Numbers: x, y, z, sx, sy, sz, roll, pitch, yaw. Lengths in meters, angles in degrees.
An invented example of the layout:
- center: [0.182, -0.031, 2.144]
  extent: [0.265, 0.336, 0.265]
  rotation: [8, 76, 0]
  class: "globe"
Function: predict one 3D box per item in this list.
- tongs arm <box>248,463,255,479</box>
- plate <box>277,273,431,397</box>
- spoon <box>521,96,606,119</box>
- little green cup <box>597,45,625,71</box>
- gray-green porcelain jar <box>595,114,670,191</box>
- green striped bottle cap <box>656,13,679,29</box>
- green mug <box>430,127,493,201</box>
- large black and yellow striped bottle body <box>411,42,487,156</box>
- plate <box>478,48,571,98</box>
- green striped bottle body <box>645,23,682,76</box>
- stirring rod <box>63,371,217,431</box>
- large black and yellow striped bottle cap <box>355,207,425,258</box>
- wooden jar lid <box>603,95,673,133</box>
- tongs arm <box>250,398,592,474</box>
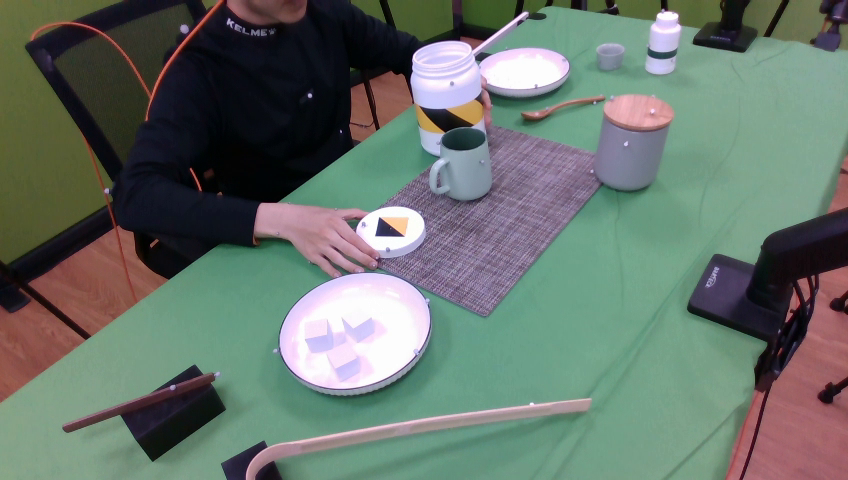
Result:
- center: [0.012, 0.262, 0.614]
  extent: [0.385, 0.026, 0.050]
  rotation: [3, 42, -2]
  class: "tongs arm"
- center: [-0.091, 0.129, 0.820]
  extent: [0.207, 0.039, 0.206]
  rotation: [-4, 40, 4]
  class: "plate"
- center: [0.291, -0.277, 1.249]
  extent: [0.194, 0.022, 0.041]
  rotation: [-17, 25, -11]
  class: "spoon"
- center: [0.423, -0.413, 1.375]
  extent: [0.061, 0.039, 0.061]
  rotation: [-3, 41, 3]
  class: "little green cup"
- center: [0.346, -0.154, 1.017]
  extent: [0.106, 0.127, 0.105]
  rotation: [-2, 44, 2]
  class: "gray-green porcelain jar"
- center: [0.515, -0.463, 1.278]
  extent: [0.044, 0.020, 0.044]
  rotation: [-6, 42, 6]
  class: "green striped bottle cap"
- center: [0.059, -0.122, 1.034]
  extent: [0.126, 0.105, 0.092]
  rotation: [-35, 48, -28]
  class: "green mug"
- center: [0.047, -0.266, 1.143]
  extent: [0.130, 0.185, 0.130]
  rotation: [-7, 38, 6]
  class: "large black and yellow striped bottle body"
- center: [0.223, -0.371, 1.357]
  extent: [0.209, 0.038, 0.208]
  rotation: [-4, 41, 4]
  class: "plate"
- center: [0.520, -0.424, 1.312]
  extent: [0.063, 0.120, 0.063]
  rotation: [-4, 41, 4]
  class: "green striped bottle body"
- center: [-0.337, 0.192, 0.723]
  extent: [0.177, 0.014, 0.005]
  rotation: [-18, 43, -12]
  class: "stirring rod"
- center: [-0.056, -0.014, 0.993]
  extent: [0.115, 0.019, 0.114]
  rotation: [-3, 40, 3]
  class: "large black and yellow striped bottle cap"
- center: [0.343, -0.200, 0.974]
  extent: [0.108, 0.021, 0.108]
  rotation: [-2, 39, 2]
  class: "wooden jar lid"
- center: [0.008, 0.212, 0.674]
  extent: [0.389, 0.028, 0.028]
  rotation: [-5, 46, -11]
  class: "tongs arm"
